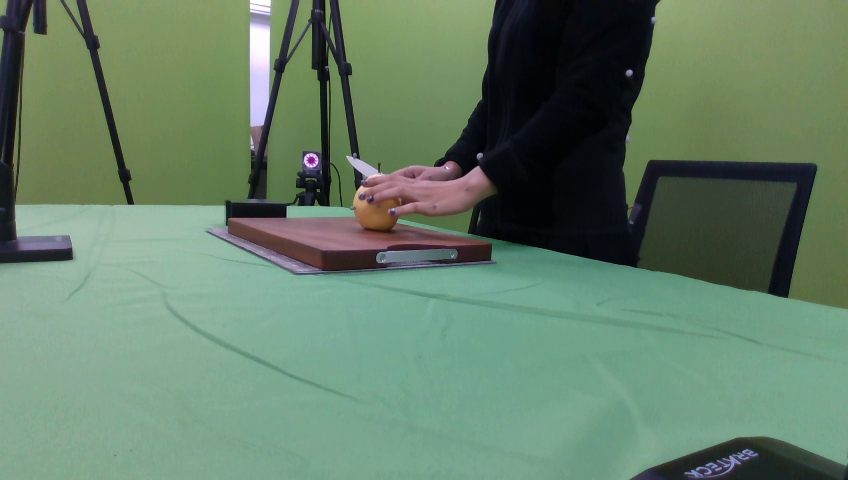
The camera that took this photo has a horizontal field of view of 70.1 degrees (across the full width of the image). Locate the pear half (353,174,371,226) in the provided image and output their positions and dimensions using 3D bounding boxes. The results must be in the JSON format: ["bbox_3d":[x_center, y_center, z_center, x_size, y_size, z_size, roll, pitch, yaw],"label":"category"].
[{"bbox_3d":[-0.095,-0.065,0.992,0.031,0.088,0.071,8,15,32],"label":"pear half"}]

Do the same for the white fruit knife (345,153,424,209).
[{"bbox_3d":[-0.067,-0.107,1.080,0.016,0.027,0.208,4,-17,42],"label":"white fruit knife"}]

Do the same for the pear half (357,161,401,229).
[{"bbox_3d":[-0.065,-0.072,0.971,0.055,0.110,0.077,7,13,33],"label":"pear half"}]
